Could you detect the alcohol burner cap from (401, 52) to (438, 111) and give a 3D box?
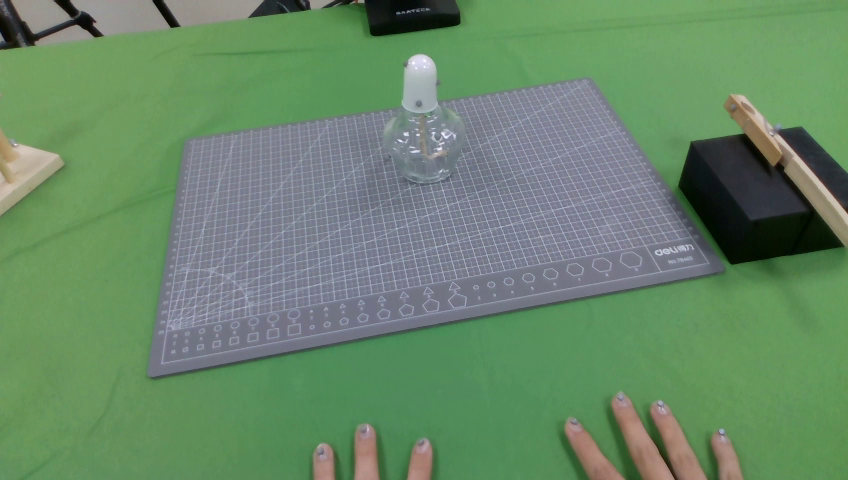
[{"bbox_3d":[-0.003,-0.139,0.525,0.034,0.048,0.033,1,45,-1],"label":"alcohol burner cap"}]

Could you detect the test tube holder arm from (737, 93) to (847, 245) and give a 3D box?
[{"bbox_3d":[0.290,-0.064,0.483,0.013,0.015,0.176,-3,46,-10],"label":"test tube holder arm"}]

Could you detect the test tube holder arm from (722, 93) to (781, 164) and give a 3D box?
[{"bbox_3d":[0.278,-0.096,0.513,0.010,0.015,0.087,-2,46,-9],"label":"test tube holder arm"}]

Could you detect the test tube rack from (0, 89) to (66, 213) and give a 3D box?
[{"bbox_3d":[-0.454,-0.037,0.538,0.066,0.086,0.241,16,50,18],"label":"test tube rack"}]

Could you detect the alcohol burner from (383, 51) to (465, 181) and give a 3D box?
[{"bbox_3d":[-0.001,-0.114,0.551,0.078,0.120,0.077,-3,45,3],"label":"alcohol burner"}]
